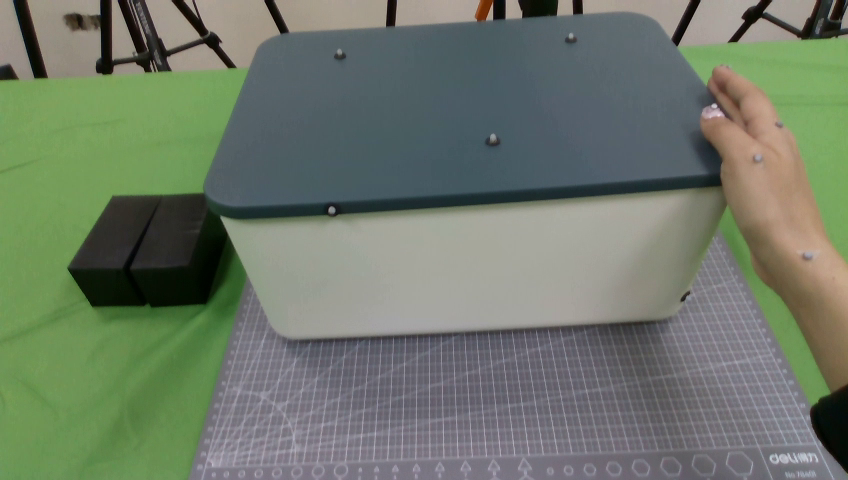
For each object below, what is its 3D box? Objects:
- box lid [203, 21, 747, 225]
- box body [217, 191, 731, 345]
[{"bbox_3d":[0.029,-0.108,0.485,0.371,0.015,0.260,-3,42,1],"label":"box lid"},{"bbox_3d":[0.035,-0.053,0.536,0.364,0.162,0.251,-3,43,1],"label":"box body"}]
